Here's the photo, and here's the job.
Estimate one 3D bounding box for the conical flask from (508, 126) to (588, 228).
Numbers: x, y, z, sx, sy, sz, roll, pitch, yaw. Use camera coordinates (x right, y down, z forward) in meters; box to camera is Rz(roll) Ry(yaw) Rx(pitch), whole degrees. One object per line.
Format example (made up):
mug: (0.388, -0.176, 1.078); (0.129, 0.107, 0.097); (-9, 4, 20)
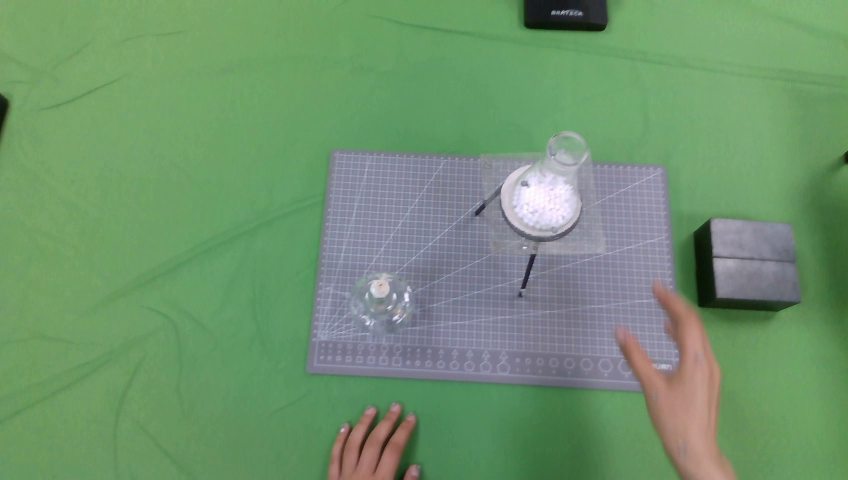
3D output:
conical flask: (0.128, -0.065, 0.595); (0.075, 0.122, 0.075); (0, 71, -1)

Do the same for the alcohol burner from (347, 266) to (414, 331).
alcohol burner: (-0.050, 0.063, 0.693); (0.078, 0.120, 0.077); (1, 70, -2)

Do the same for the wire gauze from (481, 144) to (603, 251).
wire gauze: (0.127, -0.046, 0.651); (0.125, 0.011, 0.120); (-1, 74, -4)

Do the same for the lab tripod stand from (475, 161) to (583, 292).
lab tripod stand: (0.129, -0.027, 0.714); (0.148, 0.132, 0.147); (0, 70, -1)
